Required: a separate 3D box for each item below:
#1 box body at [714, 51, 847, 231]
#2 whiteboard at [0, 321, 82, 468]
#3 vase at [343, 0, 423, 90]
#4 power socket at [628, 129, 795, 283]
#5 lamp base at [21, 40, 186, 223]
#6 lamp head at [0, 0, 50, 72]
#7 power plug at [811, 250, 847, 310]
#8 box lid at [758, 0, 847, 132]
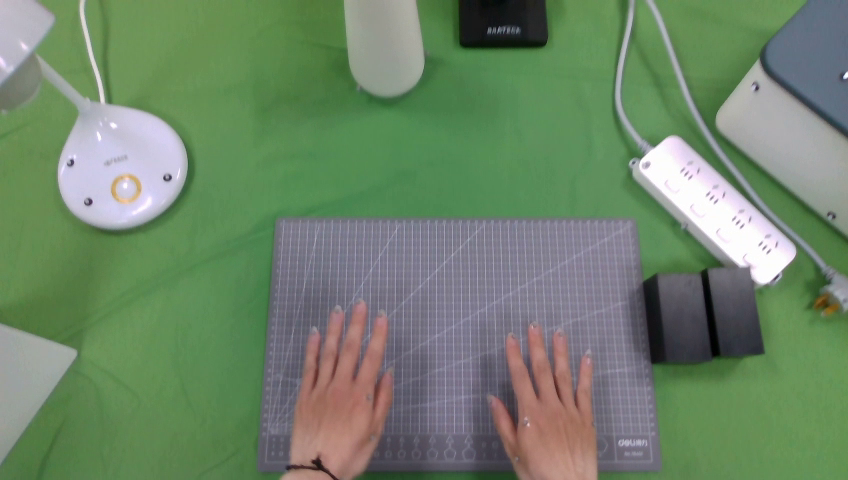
[{"bbox_3d":[0.568,-0.144,0.706,0.362,0.161,0.254,44,79,11],"label":"box body"},{"bbox_3d":[-0.552,0.129,0.583,0.143,0.308,0.216,24,75,27],"label":"whiteboard"},{"bbox_3d":[-0.050,-0.264,0.719,0.098,0.201,0.097,0,73,-1],"label":"vase"},{"bbox_3d":[0.352,-0.043,0.745,0.072,0.033,0.225,-39,78,-11],"label":"power socket"},{"bbox_3d":[-0.387,-0.129,0.688,0.160,0.181,0.178,-30,74,-8],"label":"lamp base"},{"bbox_3d":[-0.346,-0.166,0.413,0.112,0.124,0.111,-26,40,25],"label":"lamp head"},{"bbox_3d":[0.480,0.053,0.728,0.052,0.035,0.072,-30,33,4],"label":"power plug"},{"bbox_3d":[0.568,-0.164,0.634,0.370,0.015,0.263,44,80,11],"label":"box lid"}]
